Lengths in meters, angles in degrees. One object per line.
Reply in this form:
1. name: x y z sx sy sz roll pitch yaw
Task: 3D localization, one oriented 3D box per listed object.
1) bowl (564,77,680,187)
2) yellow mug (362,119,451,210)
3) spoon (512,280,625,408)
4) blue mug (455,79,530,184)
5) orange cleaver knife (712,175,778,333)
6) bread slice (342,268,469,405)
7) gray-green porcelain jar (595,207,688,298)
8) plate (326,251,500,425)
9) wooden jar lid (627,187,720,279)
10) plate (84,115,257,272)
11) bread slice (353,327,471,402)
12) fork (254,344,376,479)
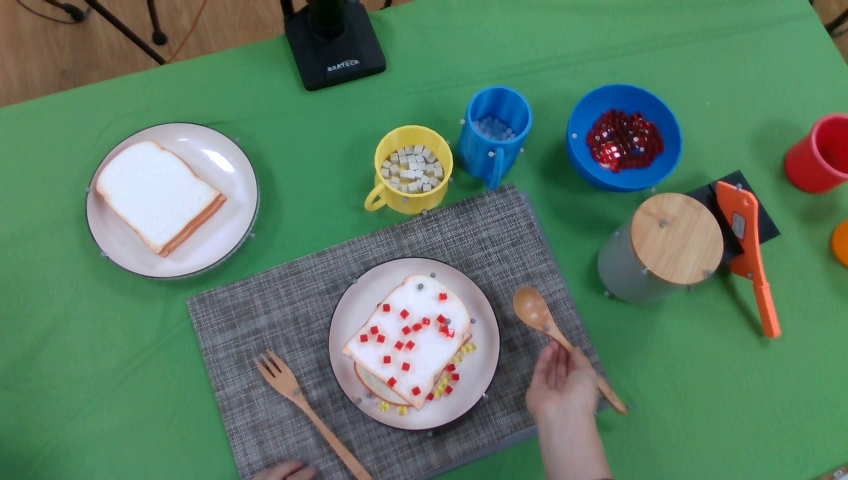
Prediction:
1. bowl: 0.253 -0.132 0.812 0.151 0.077 0.150 1 74 -4
2. yellow mug: -0.029 -0.088 0.783 0.131 0.064 0.099 -40 79 -13
3. spoon: 0.173 0.127 0.726 0.041 0.022 0.193 -39 83 -21
4. blue mug: 0.086 -0.130 0.785 0.082 0.106 0.116 1 73 -4
5. orange cleaver knife: 0.411 0.018 0.779 0.012 0.077 0.212 -21 102 -10
6. bread slice: -0.014 0.098 0.679 0.107 0.018 0.134 34 68 0
7. gray-green porcelain jar: 0.277 0.012 0.747 0.106 0.127 0.105 1 73 -4
8. plate: -0.014 0.116 0.735 0.209 0.038 0.208 1 74 -4
9. wooden jar lid: 0.280 -0.007 0.687 0.108 0.021 0.108 2 75 -7
10. plate: -0.314 -0.057 0.766 0.208 0.039 0.206 1 73 -4
11. bread slice: -0.019 0.129 0.734 0.104 0.019 0.131 35 72 8
12. fork: -0.127 0.204 0.709 0.028 0.019 0.206 -40 79 -21
